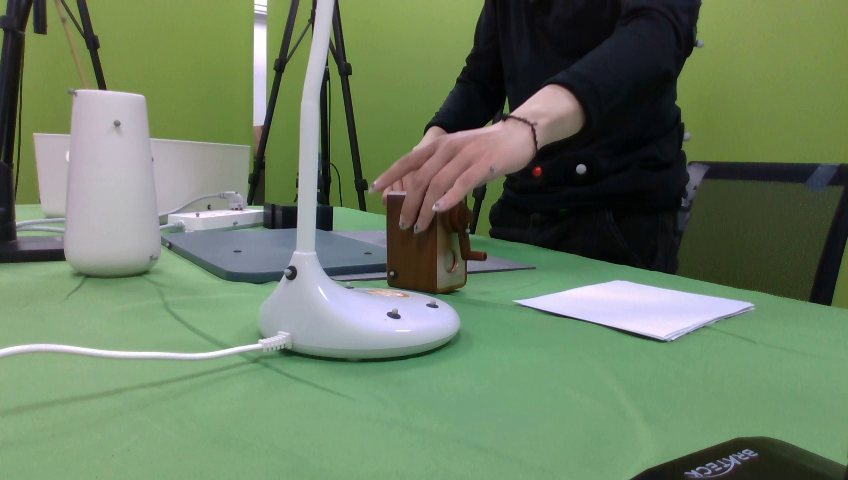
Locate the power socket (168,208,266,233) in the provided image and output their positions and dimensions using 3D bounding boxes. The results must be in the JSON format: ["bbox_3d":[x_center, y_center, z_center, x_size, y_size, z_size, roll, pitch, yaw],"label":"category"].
[{"bbox_3d":[-0.379,-0.038,1.129,0.072,0.032,0.227,4,8,18],"label":"power socket"}]

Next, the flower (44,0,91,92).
[{"bbox_3d":[-0.361,-0.142,0.663,0.044,0.361,0.038,-12,11,30],"label":"flower"}]

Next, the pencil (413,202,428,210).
[{"bbox_3d":[-0.005,-0.060,1.069,0.012,0.012,0.194,1,1,-7],"label":"pencil"}]

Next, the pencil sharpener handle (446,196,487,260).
[{"bbox_3d":[0.047,-0.012,0.625,0.030,0.068,0.036,4,20,37],"label":"pencil sharpener handle"}]

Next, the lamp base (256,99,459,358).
[{"bbox_3d":[-0.055,-0.013,0.463,0.160,0.180,0.180,6,11,27],"label":"lamp base"}]

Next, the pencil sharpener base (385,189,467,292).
[{"bbox_3d":[0.004,-0.002,0.654,0.076,0.107,0.061,4,6,37],"label":"pencil sharpener base"}]

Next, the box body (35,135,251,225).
[{"bbox_3d":[-0.559,-0.127,1.257,0.253,0.160,0.365,4,8,15],"label":"box body"}]

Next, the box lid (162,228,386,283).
[{"bbox_3d":[-0.200,0.014,0.861,0.265,0.015,0.369,-4,9,-35],"label":"box lid"}]

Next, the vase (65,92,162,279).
[{"bbox_3d":[-0.347,-0.060,0.673,0.098,0.200,0.098,1,7,0],"label":"vase"}]

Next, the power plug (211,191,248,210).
[{"bbox_3d":[-0.384,-0.071,1.205,0.072,0.052,0.035,1,8,28],"label":"power plug"}]
